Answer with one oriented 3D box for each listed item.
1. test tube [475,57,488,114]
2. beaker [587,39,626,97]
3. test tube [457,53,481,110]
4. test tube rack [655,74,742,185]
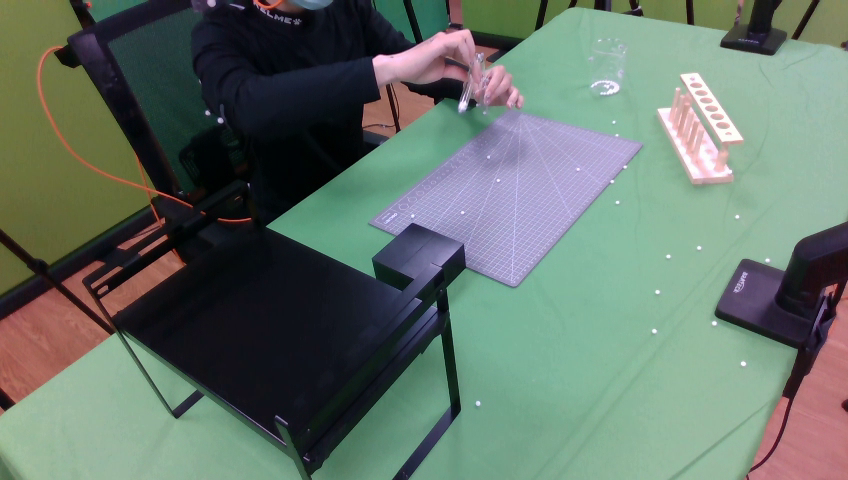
[{"bbox_3d":[0.106,-0.280,1.112,0.017,0.151,0.017,-3,65,7],"label":"test tube"},{"bbox_3d":[0.386,-0.361,1.280,0.074,0.101,0.083,-22,43,-15],"label":"beaker"},{"bbox_3d":[0.075,-0.261,0.995,0.017,0.017,0.150,5,49,14],"label":"test tube"},{"bbox_3d":[0.488,-0.205,1.093,0.067,0.085,0.241,-3,40,5],"label":"test tube rack"}]
